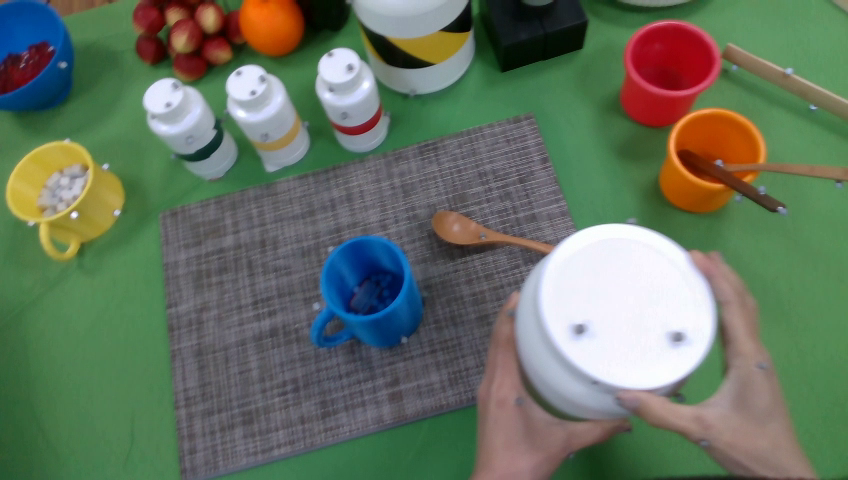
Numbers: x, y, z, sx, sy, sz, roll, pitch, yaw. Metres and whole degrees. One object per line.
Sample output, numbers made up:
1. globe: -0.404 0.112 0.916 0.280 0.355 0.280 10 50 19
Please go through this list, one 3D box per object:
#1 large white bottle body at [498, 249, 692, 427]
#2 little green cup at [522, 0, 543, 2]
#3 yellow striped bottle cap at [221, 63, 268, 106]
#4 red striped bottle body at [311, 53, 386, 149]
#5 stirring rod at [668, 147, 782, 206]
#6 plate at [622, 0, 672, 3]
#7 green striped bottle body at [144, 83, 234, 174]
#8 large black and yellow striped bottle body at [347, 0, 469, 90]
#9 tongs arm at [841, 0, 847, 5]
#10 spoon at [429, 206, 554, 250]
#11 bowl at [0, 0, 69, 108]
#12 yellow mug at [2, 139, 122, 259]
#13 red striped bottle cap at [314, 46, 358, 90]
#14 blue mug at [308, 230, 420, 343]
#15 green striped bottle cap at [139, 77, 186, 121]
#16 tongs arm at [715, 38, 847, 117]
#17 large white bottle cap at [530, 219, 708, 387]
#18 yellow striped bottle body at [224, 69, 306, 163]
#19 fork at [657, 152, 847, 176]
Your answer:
1. large white bottle body: 0.132 0.073 0.481 0.130 0.186 0.129 0 67 1
2. little green cup: 0.125 -0.305 0.692 0.061 0.039 0.061 -1 66 3
3. yellow striped bottle cap: -0.184 -0.160 0.623 0.044 0.019 0.044 -1 64 2
4. red striped bottle body: -0.083 -0.157 0.668 0.063 0.120 0.062 -3 68 8
5. stirring rod: 0.284 -0.065 0.585 0.014 0.006 0.174 -13 25 -2
6. plate: 0.277 -0.376 0.759 0.209 0.038 0.207 -2 69 5
7. green striped bottle body: -0.264 -0.127 0.675 0.063 0.120 0.062 -2 68 5
8. large black and yellow striped bottle body: -0.019 -0.270 0.670 0.130 0.185 0.130 -2 69 6
9. tongs arm: 0.563 -0.195 0.663 0.028 0.028 0.384 -33 69 -15
10. spoon: 0.098 0.000 0.637 0.193 0.022 0.041 14 50 11
11. bowl: -0.507 -0.219 0.759 0.151 0.077 0.150 -2 69 5
12. yellow mug: -0.410 -0.042 0.687 0.100 0.064 0.130 -6 69 4
13. red striped bottle cap: -0.090 -0.176 0.619 0.044 0.018 0.044 -1 66 2
14. blue mug: -0.062 0.058 0.587 0.116 0.106 0.082 -39 69 -9
15. green striped bottle cap: -0.271 -0.147 0.627 0.044 0.020 0.044 -2 67 4
16. tongs arm: 0.499 -0.134 0.643 0.382 0.027 0.050 35 72 17
17. large white bottle cap: 0.129 0.039 0.403 0.115 0.018 0.114 0 67 0
18. yellow striped bottle body: -0.178 -0.141 0.671 0.063 0.121 0.062 -2 68 6
19. fork: 0.314 -0.072 0.577 0.028 0.019 0.205 -52 29 -14
